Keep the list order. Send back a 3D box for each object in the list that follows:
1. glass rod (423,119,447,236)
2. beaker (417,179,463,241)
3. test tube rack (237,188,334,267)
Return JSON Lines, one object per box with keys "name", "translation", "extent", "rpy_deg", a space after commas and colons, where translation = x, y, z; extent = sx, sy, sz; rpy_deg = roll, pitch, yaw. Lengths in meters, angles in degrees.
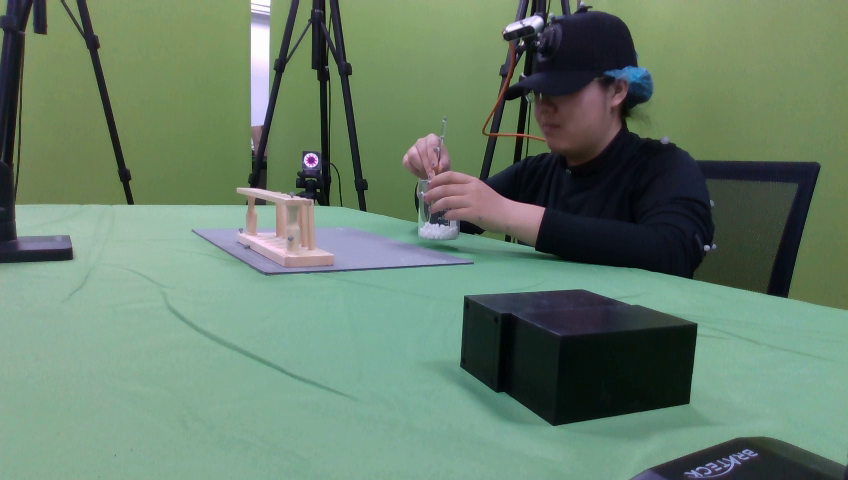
{"name": "glass rod", "translation": [0.018, -0.103, 1.013], "extent": [0.008, 0.199, 0.008], "rpy_deg": [10, 7, -1]}
{"name": "beaker", "translation": [0.029, -0.050, 1.006], "extent": [0.083, 0.100, 0.074], "rpy_deg": [5, 6, 38]}
{"name": "test tube rack", "translation": [-0.202, -0.024, 0.855], "extent": [0.067, 0.085, 0.241], "rpy_deg": [-1, 8, -30]}
